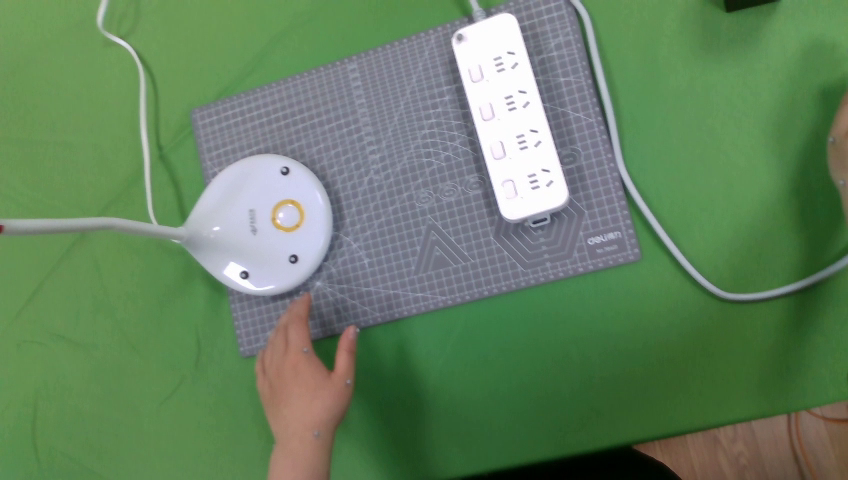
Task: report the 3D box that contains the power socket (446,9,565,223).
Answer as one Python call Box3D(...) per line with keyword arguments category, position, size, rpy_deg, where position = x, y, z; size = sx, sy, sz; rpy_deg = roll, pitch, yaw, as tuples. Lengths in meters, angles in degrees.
Box3D(category="power socket", position=(0.083, -0.129, 0.621), size=(0.072, 0.033, 0.226), rpy_deg=(-17, 84, 10))

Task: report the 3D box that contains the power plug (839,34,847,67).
Box3D(category="power plug", position=(0.388, -0.151, 0.534), size=(0.035, 0.052, 0.073), rpy_deg=(0, 114, 39))

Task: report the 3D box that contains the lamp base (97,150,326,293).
Box3D(category="lamp base", position=(-0.213, -0.021, 0.604), size=(0.179, 0.181, 0.160), rpy_deg=(-21, 83, 13))
